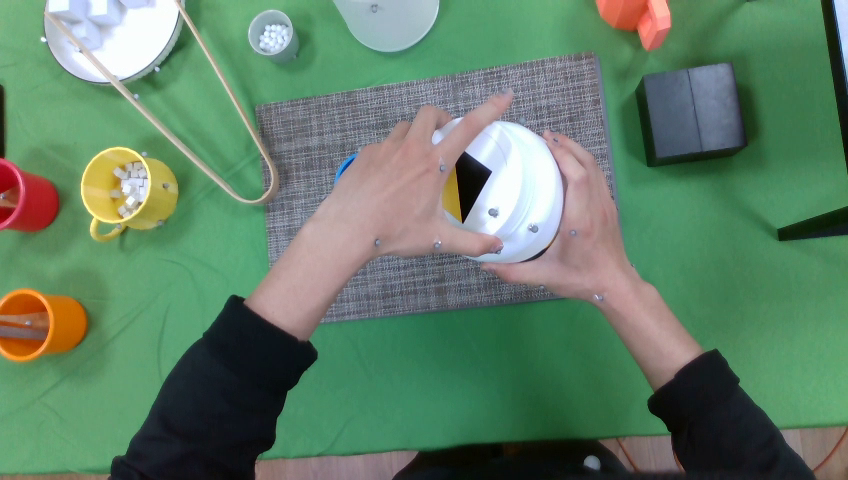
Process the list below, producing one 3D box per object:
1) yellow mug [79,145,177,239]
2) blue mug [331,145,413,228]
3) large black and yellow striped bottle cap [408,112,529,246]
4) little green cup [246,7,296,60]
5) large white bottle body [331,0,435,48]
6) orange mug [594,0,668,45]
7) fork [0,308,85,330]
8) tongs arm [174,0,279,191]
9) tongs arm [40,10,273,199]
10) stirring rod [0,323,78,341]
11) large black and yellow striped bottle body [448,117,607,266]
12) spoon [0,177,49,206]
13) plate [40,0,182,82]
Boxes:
[{"bbox_3d":[-0.400,-0.057,0.804,0.099,0.064,0.131,32,91,9],"label":"yellow mug"},{"bbox_3d":[-0.042,-0.056,0.730,0.116,0.106,0.082,19,87,9],"label":"blue mug"},{"bbox_3d":[0.035,-0.052,0.520,0.114,0.019,0.114,-5,82,37],"label":"large black and yellow striped bottle cap"},{"bbox_3d":[-0.202,-0.273,0.809,0.061,0.039,0.061,-1,86,8],"label":"little green cup"},{"bbox_3d":[-0.061,-0.326,0.719,0.130,0.185,0.130,-1,84,8],"label":"large white bottle body"},{"bbox_3d":[0.255,-0.301,0.717,0.083,0.101,0.125,-17,78,7],"label":"orange mug"},{"bbox_3d":[-0.550,0.095,0.769,0.209,0.018,0.028,10,84,-35],"label":"fork"},{"bbox_3d":[-0.290,-0.238,0.802,0.028,0.028,0.387,-31,88,-4],"label":"tongs arm"},{"bbox_3d":[-0.355,-0.184,0.803,0.384,0.026,0.051,45,89,2],"label":"tongs arm"},{"bbox_3d":[-0.540,0.113,0.769,0.006,0.177,0.014,-23,61,49],"label":"stirring rod"},{"bbox_3d":[0.086,-0.044,0.590,0.130,0.185,0.130,-4,83,36],"label":"large black and yellow striped bottle body"},{"bbox_3d":[-0.597,-0.044,0.792,0.194,0.022,0.041,-24,77,-39],"label":"spoon"},{"bbox_3d":[-0.430,-0.319,0.845,0.207,0.039,0.207,-1,85,8],"label":"plate"}]
